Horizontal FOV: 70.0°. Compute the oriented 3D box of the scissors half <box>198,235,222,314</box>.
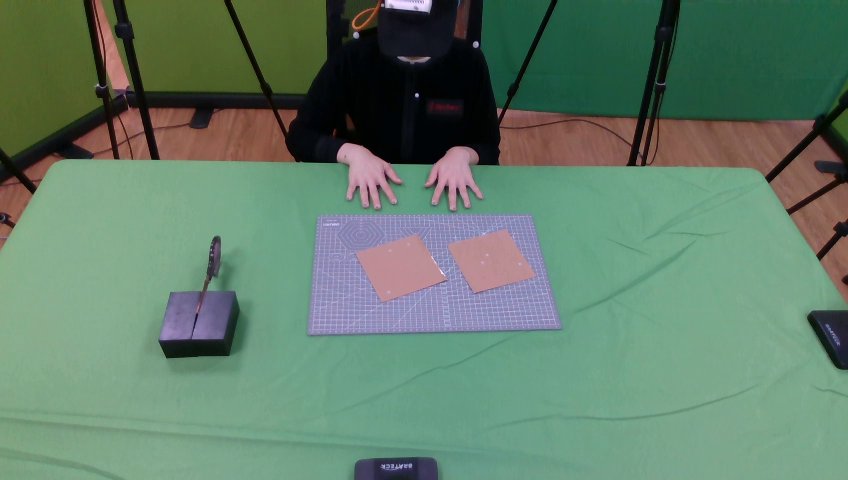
[{"bbox_3d":[-0.374,0.058,1.057,0.013,0.040,0.174,9,49,-13],"label":"scissors half"}]

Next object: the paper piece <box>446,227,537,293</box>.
[{"bbox_3d":[0.130,0.037,1.177,0.136,0.004,0.134,-14,49,-16],"label":"paper piece"}]

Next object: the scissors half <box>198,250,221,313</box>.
[{"bbox_3d":[-0.379,0.073,1.071,0.013,0.040,0.174,6,32,-9],"label":"scissors half"}]

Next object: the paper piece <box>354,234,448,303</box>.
[{"bbox_3d":[-0.045,0.049,1.154,0.138,0.009,0.135,-18,46,-18],"label":"paper piece"}]
